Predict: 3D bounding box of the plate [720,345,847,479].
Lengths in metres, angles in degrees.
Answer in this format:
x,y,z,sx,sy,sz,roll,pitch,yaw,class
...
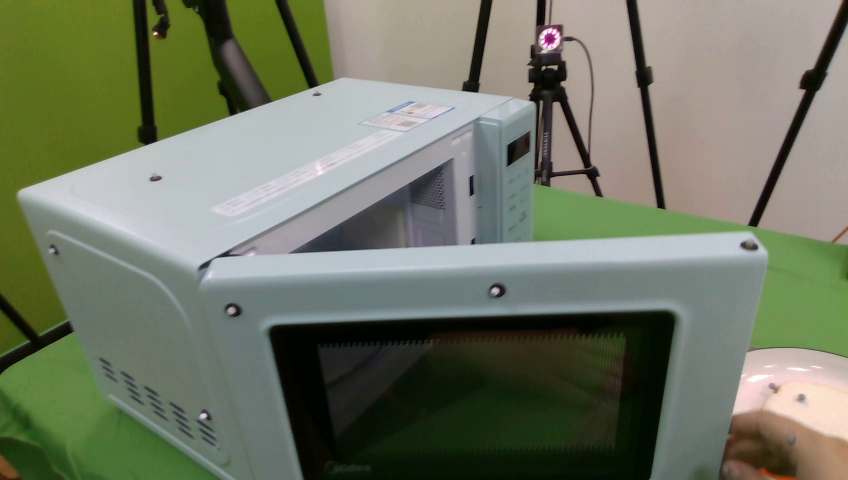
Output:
x,y,z,sx,sy,sz,roll,pitch,yaw,class
0.351,0.171,0.535,0.209,0.038,0.207,-4,28,3,plate

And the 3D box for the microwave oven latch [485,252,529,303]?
x,y,z,sx,sy,sz,roll,pitch,yaw,class
0.107,0.047,0.773,0.030,0.030,0.079,17,36,33,microwave oven latch

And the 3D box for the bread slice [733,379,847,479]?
x,y,z,sx,sy,sz,roll,pitch,yaw,class
0.348,0.173,0.538,0.104,0.019,0.131,18,37,34,bread slice

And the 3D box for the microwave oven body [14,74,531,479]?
x,y,z,sx,sy,sz,roll,pitch,yaw,class
-0.124,0.005,0.682,0.323,0.262,0.441,16,36,32,microwave oven body

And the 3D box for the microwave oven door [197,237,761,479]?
x,y,z,sx,sy,sz,roll,pitch,yaw,class
0.038,0.115,0.443,0.356,0.246,0.039,-3,29,4,microwave oven door
